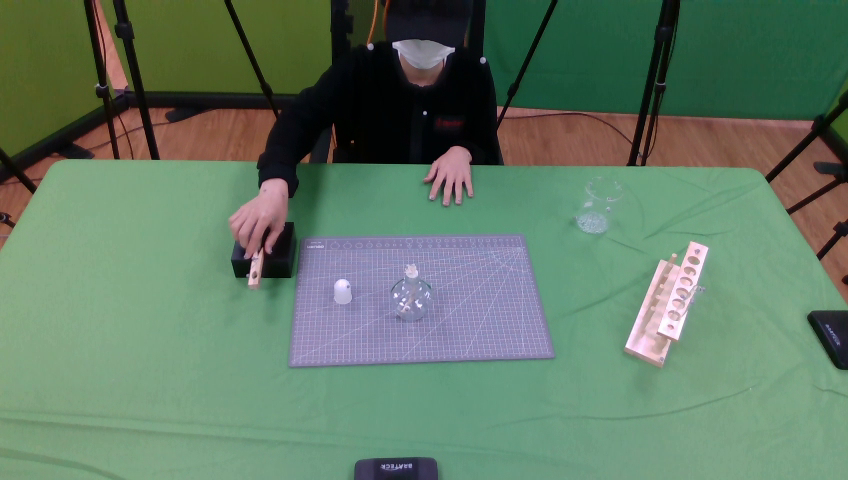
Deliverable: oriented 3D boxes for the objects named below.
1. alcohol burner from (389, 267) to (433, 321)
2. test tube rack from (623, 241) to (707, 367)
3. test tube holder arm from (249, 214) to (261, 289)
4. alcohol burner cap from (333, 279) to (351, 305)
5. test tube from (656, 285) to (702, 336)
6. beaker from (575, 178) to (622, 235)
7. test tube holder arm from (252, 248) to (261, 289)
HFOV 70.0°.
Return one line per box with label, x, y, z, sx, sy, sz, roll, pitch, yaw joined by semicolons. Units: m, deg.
alcohol burner;-0.022;0.086;1.046;0.078;0.119;0.077;2;48;-3
test tube rack;0.435;0.104;1.089;0.066;0.085;0.242;24;49;19
test tube holder arm;-0.305;0.016;1.096;0.013;0.015;0.177;4;45;-16
alcohol burner cap;-0.148;0.090;1.083;0.034;0.048;0.033;3;47;-2
test tube;0.418;0.121;1.000;0.017;0.151;0.017;4;51;-4
beaker;0.356;-0.068;1.240;0.084;0.101;0.073;-18;50;-21
test tube holder arm;-0.294;0.049;1.066;0.010;0.015;0.087;5;45;-15
